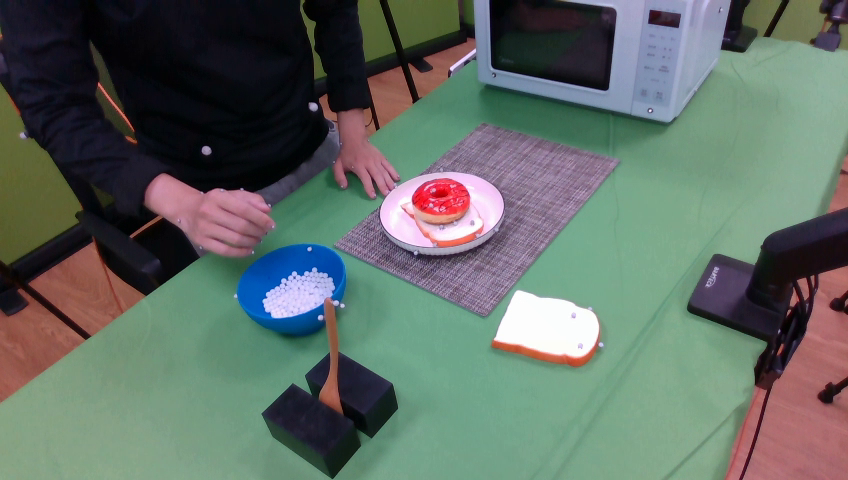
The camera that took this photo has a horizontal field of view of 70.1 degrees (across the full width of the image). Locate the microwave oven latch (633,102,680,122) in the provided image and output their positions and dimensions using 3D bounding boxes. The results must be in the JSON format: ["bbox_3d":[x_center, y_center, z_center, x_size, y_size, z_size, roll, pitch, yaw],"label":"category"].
[{"bbox_3d":[0.444,-0.249,1.157,0.078,0.029,0.030,21,49,30],"label":"microwave oven latch"}]

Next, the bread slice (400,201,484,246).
[{"bbox_3d":[0.037,-0.038,0.990,0.107,0.018,0.133,-23,42,-17],"label":"bread slice"}]

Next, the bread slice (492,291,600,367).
[{"bbox_3d":[0.169,0.118,0.811,0.131,0.019,0.105,11,44,21],"label":"bread slice"}]

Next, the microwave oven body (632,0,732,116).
[{"bbox_3d":[0.377,-0.462,1.267,0.438,0.261,0.327,21,48,30],"label":"microwave oven body"}]

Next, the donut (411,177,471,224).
[{"bbox_3d":[0.028,-0.064,0.978,0.099,0.048,0.098,-4,40,4],"label":"donut"}]

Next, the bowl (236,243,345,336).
[{"bbox_3d":[-0.180,0.082,0.855,0.151,0.077,0.150,-4,41,4],"label":"bowl"}]

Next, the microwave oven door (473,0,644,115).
[{"bbox_3d":[0.257,-0.396,1.199,0.353,0.245,0.039,21,48,29],"label":"microwave oven door"}]

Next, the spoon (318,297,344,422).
[{"bbox_3d":[-0.107,0.139,0.687,0.041,0.194,0.022,27,37,31],"label":"spoon"}]

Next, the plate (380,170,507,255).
[{"bbox_3d":[0.033,-0.042,0.995,0.207,0.039,0.206,-4,40,4],"label":"plate"}]
